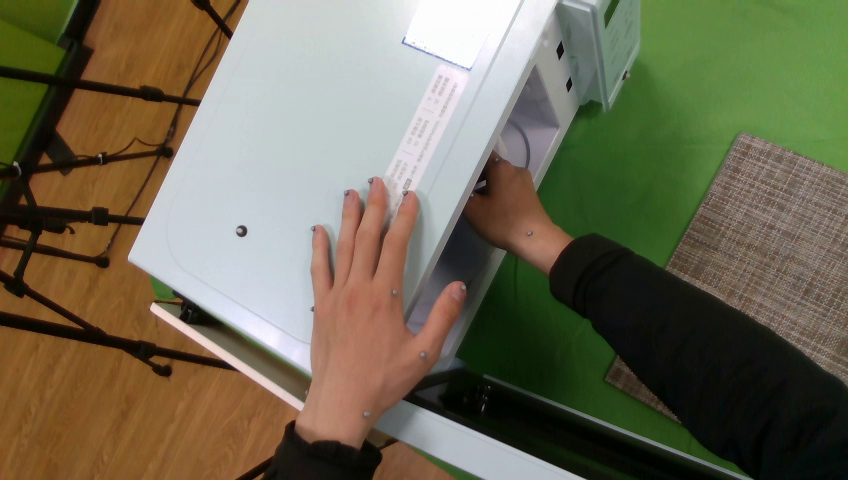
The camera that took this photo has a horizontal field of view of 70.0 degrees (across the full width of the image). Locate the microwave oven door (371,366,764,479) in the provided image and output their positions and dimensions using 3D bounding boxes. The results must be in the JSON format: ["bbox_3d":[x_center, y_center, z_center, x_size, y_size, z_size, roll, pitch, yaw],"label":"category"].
[{"bbox_3d":[0.157,0.195,0.521,0.354,0.245,0.039,17,89,20],"label":"microwave oven door"}]

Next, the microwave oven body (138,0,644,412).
[{"bbox_3d":[-0.023,-0.102,0.625,0.324,0.262,0.441,27,93,20],"label":"microwave oven body"}]

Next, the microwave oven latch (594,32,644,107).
[{"bbox_3d":[0.211,-0.187,0.656,0.030,0.030,0.079,27,94,20],"label":"microwave oven latch"}]
